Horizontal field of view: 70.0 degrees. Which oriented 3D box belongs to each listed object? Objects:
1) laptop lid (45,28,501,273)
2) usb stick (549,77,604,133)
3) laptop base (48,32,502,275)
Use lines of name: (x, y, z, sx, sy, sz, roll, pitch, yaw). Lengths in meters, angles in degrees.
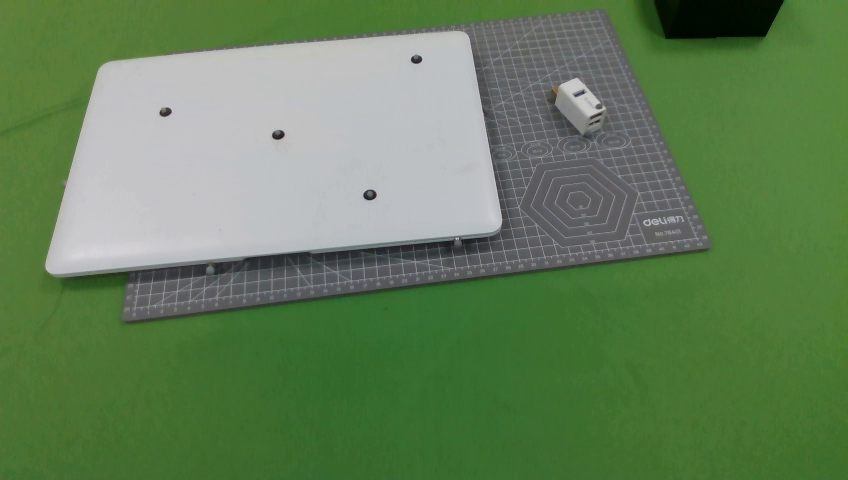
laptop lid: (-0.124, -0.089, 0.518, 0.357, 0.013, 0.239, -4, 59, -1)
usb stick: (0.133, -0.124, 0.540, 0.021, 0.027, 0.058, -25, 57, -13)
laptop base: (-0.123, -0.084, 0.529, 0.354, 0.023, 0.233, -5, 60, -2)
